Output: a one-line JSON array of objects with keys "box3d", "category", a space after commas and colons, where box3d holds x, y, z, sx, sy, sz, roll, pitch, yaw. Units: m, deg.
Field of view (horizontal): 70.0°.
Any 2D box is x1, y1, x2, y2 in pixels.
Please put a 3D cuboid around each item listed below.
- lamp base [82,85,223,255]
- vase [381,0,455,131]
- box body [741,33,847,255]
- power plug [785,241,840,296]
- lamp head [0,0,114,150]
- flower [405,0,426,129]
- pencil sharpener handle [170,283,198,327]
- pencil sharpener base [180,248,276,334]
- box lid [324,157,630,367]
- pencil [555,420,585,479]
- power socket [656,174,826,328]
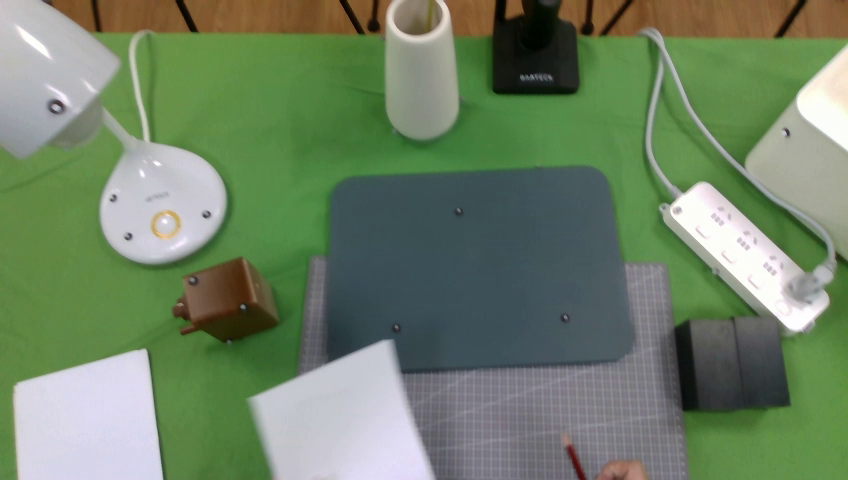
[{"box3d": [-0.349, -0.092, 0.714, 0.160, 0.181, 0.178, -29, 70, -9], "category": "lamp base"}, {"box3d": [-0.008, -0.219, 0.745, 0.098, 0.201, 0.097, 0, 69, 0], "category": "vase"}, {"box3d": [0.604, -0.086, 0.709, 0.254, 0.161, 0.362, -41, 75, -12], "category": "box body"}, {"box3d": [0.459, 0.039, 0.712, 0.072, 0.053, 0.035, -26, 70, -13], "category": "power plug"}, {"box3d": [-0.313, -0.146, 0.440, 0.112, 0.124, 0.111, -28, 35, 22], "category": "lamp head"}, {"box3d": [0.000, -0.260, 0.671, 0.044, 0.364, 0.038, -21, 59, -23], "category": "flower"}, {"box3d": [-0.272, 0.077, 0.679, 0.030, 0.068, 0.035, -19, 59, -5], "category": "pencil sharpener handle"}, {"box3d": [-0.225, 0.062, 0.697, 0.077, 0.107, 0.061, -19, 71, -5], "category": "pencil sharpener base"}, {"box3d": [0.061, 0.021, 0.758, 0.372, 0.015, 0.261, -3, 70, 0], "category": "box lid"}, {"box3d": [0.165, 0.264, 0.588, 0.012, 0.012, 0.194, -23, 91, -7], "category": "pencil"}, {"box3d": [0.389, 0.011, 0.747, 0.072, 0.033, 0.225, -37, 74, -12], "category": "power socket"}]
